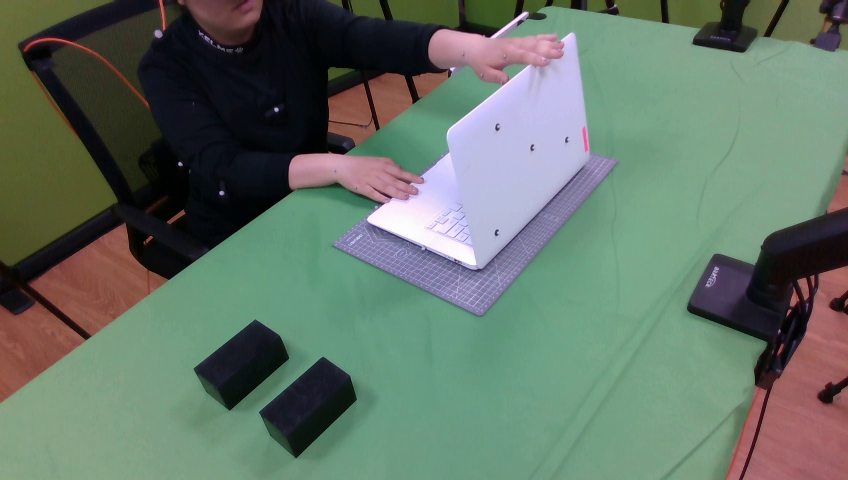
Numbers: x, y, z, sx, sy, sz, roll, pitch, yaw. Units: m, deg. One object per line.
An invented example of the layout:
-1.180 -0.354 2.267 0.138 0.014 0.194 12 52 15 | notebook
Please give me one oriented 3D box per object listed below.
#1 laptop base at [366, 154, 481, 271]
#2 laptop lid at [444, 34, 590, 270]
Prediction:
0.099 -0.085 1.059 0.233 0.023 0.355 21 48 34 | laptop base
0.163 -0.143 0.930 0.013 0.243 0.358 14 42 39 | laptop lid
